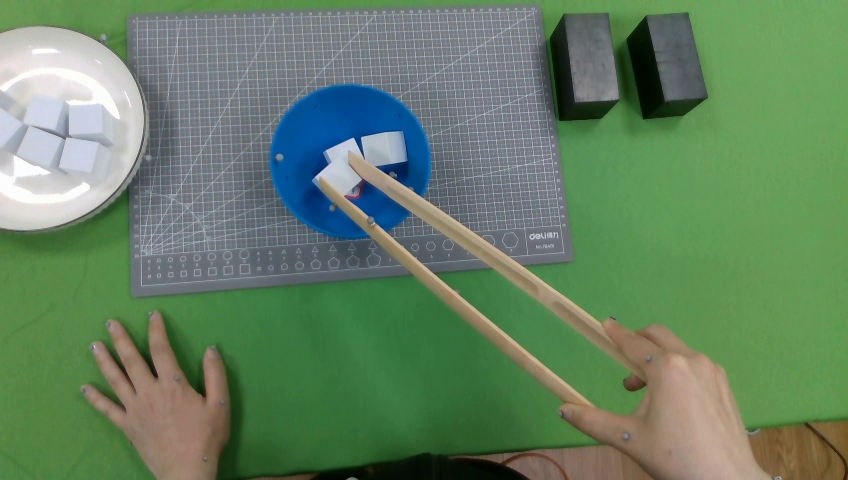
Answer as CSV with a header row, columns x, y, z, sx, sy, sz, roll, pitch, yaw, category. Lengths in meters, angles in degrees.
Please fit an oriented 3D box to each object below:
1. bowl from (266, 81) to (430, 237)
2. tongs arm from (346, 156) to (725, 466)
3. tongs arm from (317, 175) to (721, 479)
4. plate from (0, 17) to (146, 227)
x,y,z,sx,sy,sz,roll,pitch,yaw,category
-0.074,-0.070,0.599,0.152,0.077,0.151,1,80,-7,bowl
0.069,0.038,0.494,0.384,0.028,0.028,38,56,22,tongs arm
0.052,0.052,0.483,0.051,0.027,0.381,-36,63,-27,tongs arm
-0.376,-0.112,0.591,0.208,0.039,0.207,1,81,-6,plate
